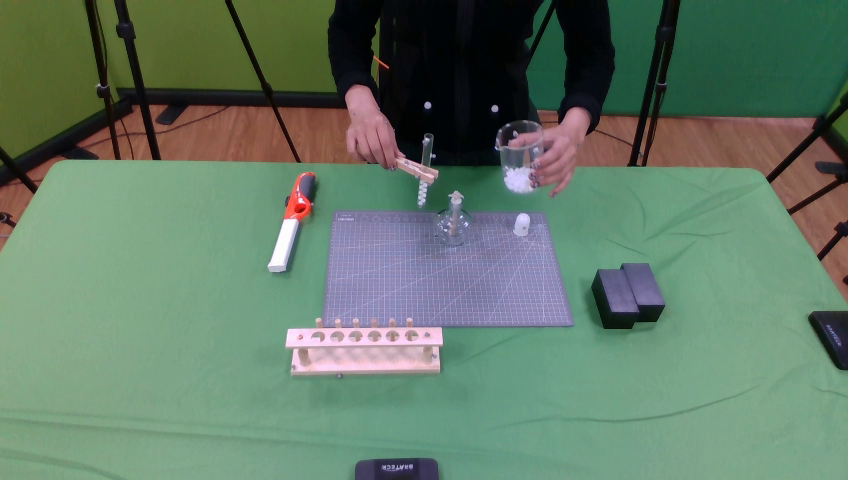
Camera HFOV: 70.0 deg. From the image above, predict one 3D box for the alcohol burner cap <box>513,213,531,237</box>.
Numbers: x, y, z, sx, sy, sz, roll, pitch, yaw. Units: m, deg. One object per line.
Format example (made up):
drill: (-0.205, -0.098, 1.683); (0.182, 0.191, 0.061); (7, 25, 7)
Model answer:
alcohol burner cap: (0.200, -0.034, 1.227); (0.034, 0.048, 0.033); (2, 46, -1)

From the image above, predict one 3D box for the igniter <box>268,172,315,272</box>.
igniter: (-0.264, -0.045, 1.219); (0.057, 0.025, 0.275); (-2, 45, 8)

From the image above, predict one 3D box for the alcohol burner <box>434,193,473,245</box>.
alcohol burner: (0.059, -0.047, 1.180); (0.078, 0.120, 0.077); (1, 48, -1)

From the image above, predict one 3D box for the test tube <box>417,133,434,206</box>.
test tube: (0.001, -0.117, 1.033); (0.017, 0.151, 0.017); (4, 44, -4)

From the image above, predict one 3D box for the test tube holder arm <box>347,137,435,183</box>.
test tube holder arm: (-0.060, -0.141, 1.053); (0.178, 0.015, 0.013); (26, 41, 17)

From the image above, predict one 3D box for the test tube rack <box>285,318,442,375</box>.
test tube rack: (-0.095, 0.168, 0.986); (0.242, 0.085, 0.066); (0, 46, -4)

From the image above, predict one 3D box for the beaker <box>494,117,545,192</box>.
beaker: (0.156, -0.134, 0.980); (0.084, 0.101, 0.073); (-26, 44, -11)

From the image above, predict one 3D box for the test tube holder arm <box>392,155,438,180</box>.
test tube holder arm: (-0.018, -0.126, 1.045); (0.087, 0.015, 0.010); (21, 40, 12)
